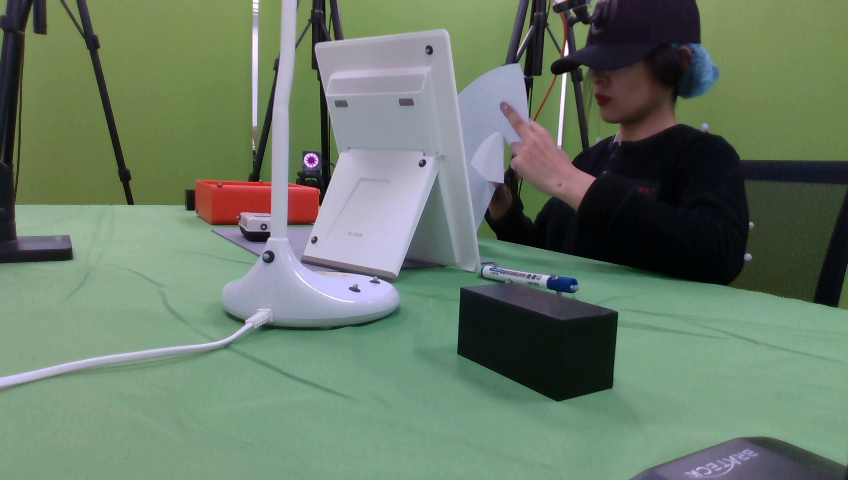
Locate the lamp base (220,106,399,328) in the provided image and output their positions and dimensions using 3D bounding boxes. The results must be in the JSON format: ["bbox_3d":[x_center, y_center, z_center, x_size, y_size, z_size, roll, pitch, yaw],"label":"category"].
[{"bbox_3d":[-0.102,-0.023,0.531,0.160,0.180,0.179,4,10,10],"label":"lamp base"}]

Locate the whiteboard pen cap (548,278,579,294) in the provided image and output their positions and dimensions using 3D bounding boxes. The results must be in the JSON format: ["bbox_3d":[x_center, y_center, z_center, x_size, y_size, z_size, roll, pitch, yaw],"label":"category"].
[{"bbox_3d":[0.148,0.049,0.647,0.018,0.018,0.033,-3,3,-35],"label":"whiteboard pen cap"}]

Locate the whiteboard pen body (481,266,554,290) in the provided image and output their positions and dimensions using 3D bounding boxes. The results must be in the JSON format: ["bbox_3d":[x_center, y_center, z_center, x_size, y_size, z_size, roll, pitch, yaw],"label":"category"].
[{"bbox_3d":[0.115,0.045,0.695,0.017,0.017,0.140,-3,6,-35],"label":"whiteboard pen body"}]

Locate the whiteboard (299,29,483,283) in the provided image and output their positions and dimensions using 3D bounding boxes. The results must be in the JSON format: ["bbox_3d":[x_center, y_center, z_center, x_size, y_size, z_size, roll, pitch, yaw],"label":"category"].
[{"bbox_3d":[-0.074,-0.082,0.742,0.216,0.305,0.144,9,29,38],"label":"whiteboard"}]

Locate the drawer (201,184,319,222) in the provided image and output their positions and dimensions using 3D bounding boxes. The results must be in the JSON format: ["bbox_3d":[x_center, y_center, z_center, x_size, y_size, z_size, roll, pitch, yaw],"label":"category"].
[{"bbox_3d":[-0.353,-0.082,1.296,0.213,0.073,0.193,-2,10,-28],"label":"drawer"}]

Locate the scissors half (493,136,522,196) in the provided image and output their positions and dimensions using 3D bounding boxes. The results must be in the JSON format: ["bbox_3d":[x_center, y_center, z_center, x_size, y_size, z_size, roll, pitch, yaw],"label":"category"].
[{"bbox_3d":[0.157,-0.135,1.129,0.013,0.175,0.040,37,59,13],"label":"scissors half"}]

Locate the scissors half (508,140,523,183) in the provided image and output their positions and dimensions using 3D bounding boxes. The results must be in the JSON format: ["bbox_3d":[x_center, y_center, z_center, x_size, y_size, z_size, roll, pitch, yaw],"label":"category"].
[{"bbox_3d":[0.172,-0.149,1.135,0.013,0.040,0.175,42,-6,15],"label":"scissors half"}]

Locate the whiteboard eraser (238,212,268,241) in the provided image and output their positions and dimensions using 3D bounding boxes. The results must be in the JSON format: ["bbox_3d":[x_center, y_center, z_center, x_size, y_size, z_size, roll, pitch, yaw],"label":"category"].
[{"bbox_3d":[-0.272,-0.024,0.998,0.056,0.042,0.112,-2,9,-24],"label":"whiteboard eraser"}]

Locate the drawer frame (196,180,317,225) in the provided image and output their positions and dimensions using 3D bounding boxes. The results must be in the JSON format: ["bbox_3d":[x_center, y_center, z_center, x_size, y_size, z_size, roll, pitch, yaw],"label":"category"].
[{"bbox_3d":[-0.359,-0.083,1.292,0.215,0.082,0.200,-2,10,-30],"label":"drawer frame"}]
